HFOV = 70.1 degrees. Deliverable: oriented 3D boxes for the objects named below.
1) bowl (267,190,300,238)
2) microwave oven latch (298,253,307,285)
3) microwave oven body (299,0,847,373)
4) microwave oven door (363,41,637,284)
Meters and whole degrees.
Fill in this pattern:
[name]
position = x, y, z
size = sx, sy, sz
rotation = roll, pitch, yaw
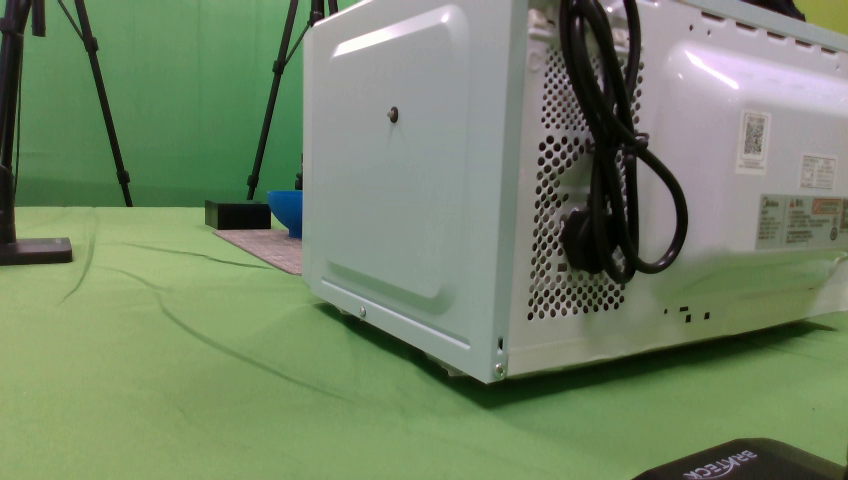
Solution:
[bowl]
position = -0.202, -0.046, 1.069
size = 0.151, 0.077, 0.151
rotation = 3, 7, 0
[microwave oven latch]
position = -0.081, 0.027, 0.582
size = 0.079, 0.029, 0.030
rotation = -1, 7, -32
[microwave oven body]
position = 0.151, -0.055, 0.542
size = 0.444, 0.260, 0.324
rotation = -1, 7, -33
[microwave oven door]
position = 0.104, -0.081, 0.696
size = 0.358, 0.243, 0.039
rotation = -2, 9, -29
